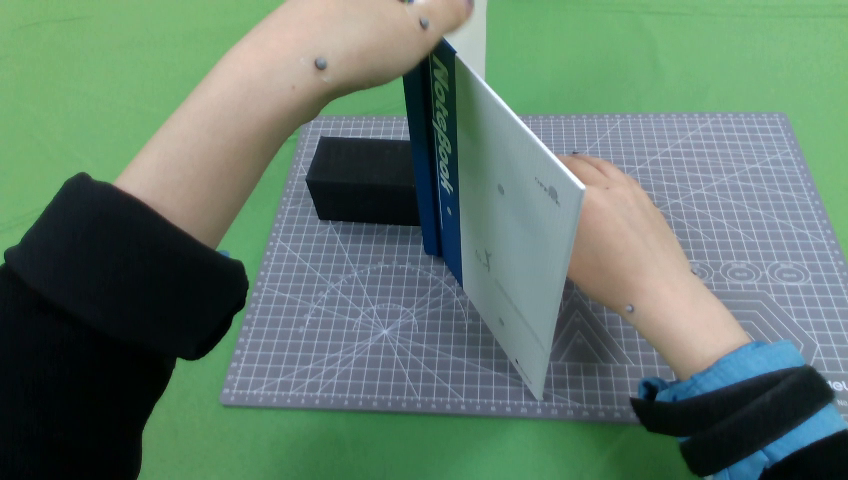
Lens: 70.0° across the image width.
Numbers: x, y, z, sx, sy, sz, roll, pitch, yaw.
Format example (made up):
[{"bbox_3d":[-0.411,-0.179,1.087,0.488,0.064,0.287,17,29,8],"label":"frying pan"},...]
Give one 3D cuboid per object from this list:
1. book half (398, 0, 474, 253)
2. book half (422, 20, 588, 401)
[{"bbox_3d":[0.016,-0.108,0.441,0.016,0.212,0.147,10,54,12],"label":"book half"},{"bbox_3d":[0.038,-0.004,0.360,0.007,0.212,0.141,-24,54,-14],"label":"book half"}]
